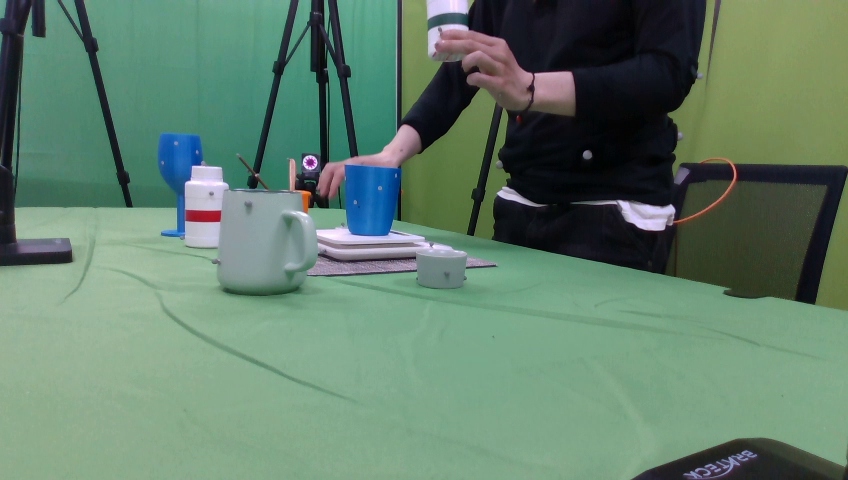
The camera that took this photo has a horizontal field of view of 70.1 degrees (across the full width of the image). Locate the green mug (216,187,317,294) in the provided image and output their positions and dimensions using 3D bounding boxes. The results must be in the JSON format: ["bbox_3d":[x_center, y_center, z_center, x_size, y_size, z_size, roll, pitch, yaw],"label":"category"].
[{"bbox_3d":[-0.157,0.000,0.629,0.124,0.105,0.093,7,9,37],"label":"green mug"}]

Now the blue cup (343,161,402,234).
[{"bbox_3d":[-0.078,-0.062,0.884,0.093,0.100,0.092,4,6,0],"label":"blue cup"}]

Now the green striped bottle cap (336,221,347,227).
[{"bbox_3d":[-0.137,-0.019,1.088,0.044,0.020,0.044,3,-11,1],"label":"green striped bottle cap"}]

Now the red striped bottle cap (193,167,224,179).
[{"bbox_3d":[-0.329,-0.103,0.921,0.044,0.017,0.044,-1,9,0],"label":"red striped bottle cap"}]

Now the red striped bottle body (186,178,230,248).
[{"bbox_3d":[-0.331,-0.049,0.927,0.063,0.119,0.063,2,6,0],"label":"red striped bottle body"}]

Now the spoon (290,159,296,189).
[{"bbox_3d":[-0.273,-0.102,1.252,0.042,0.193,0.021,8,-39,-18],"label":"spoon"}]

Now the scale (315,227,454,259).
[{"bbox_3d":[-0.066,0.001,0.906,0.202,0.031,0.148,-2,8,-31],"label":"scale"}]

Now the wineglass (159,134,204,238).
[{"bbox_3d":[-0.415,-0.093,1.040,0.074,0.172,0.073,2,7,0],"label":"wineglass"}]

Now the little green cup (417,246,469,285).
[{"bbox_3d":[0.021,0.029,0.701,0.061,0.038,0.061,1,6,0],"label":"little green cup"}]

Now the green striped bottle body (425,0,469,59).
[{"bbox_3d":[0.034,-0.339,0.908,0.063,0.119,0.063,-2,3,0],"label":"green striped bottle body"}]

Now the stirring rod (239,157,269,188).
[{"bbox_3d":[-0.309,-0.098,1.209,0.006,0.177,0.014,-39,29,-3],"label":"stirring rod"}]
